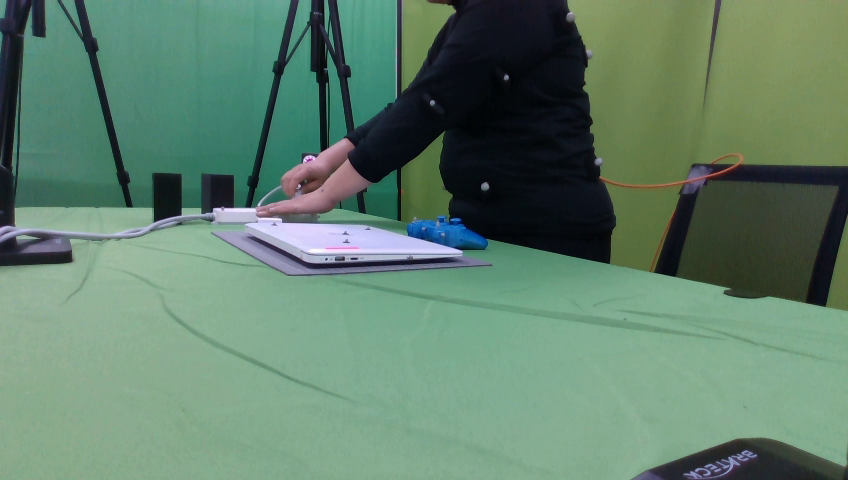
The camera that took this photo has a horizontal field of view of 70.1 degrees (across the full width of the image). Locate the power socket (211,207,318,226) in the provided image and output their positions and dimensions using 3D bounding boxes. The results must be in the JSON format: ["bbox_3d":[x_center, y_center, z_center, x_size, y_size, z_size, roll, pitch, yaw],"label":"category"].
[{"bbox_3d":[-0.335,-0.051,1.282,0.228,0.032,0.072,-1,10,-29],"label":"power socket"}]

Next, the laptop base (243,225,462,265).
[{"bbox_3d":[-0.128,0.007,0.951,0.237,0.023,0.352,2,6,-30],"label":"laptop base"}]

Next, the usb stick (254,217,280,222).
[{"bbox_3d":[-0.296,-0.028,1.114,0.059,0.027,0.021,-4,12,-30],"label":"usb stick"}]

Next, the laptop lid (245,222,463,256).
[{"bbox_3d":[-0.126,-0.005,0.951,0.243,0.013,0.355,1,7,-28],"label":"laptop lid"}]

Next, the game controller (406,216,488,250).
[{"bbox_3d":[0.035,-0.013,1.067,0.097,0.051,0.154,-7,11,-29],"label":"game controller"}]

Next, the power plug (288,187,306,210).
[{"bbox_3d":[-0.282,-0.088,1.338,0.035,0.052,0.072,-1,13,-17],"label":"power plug"}]
